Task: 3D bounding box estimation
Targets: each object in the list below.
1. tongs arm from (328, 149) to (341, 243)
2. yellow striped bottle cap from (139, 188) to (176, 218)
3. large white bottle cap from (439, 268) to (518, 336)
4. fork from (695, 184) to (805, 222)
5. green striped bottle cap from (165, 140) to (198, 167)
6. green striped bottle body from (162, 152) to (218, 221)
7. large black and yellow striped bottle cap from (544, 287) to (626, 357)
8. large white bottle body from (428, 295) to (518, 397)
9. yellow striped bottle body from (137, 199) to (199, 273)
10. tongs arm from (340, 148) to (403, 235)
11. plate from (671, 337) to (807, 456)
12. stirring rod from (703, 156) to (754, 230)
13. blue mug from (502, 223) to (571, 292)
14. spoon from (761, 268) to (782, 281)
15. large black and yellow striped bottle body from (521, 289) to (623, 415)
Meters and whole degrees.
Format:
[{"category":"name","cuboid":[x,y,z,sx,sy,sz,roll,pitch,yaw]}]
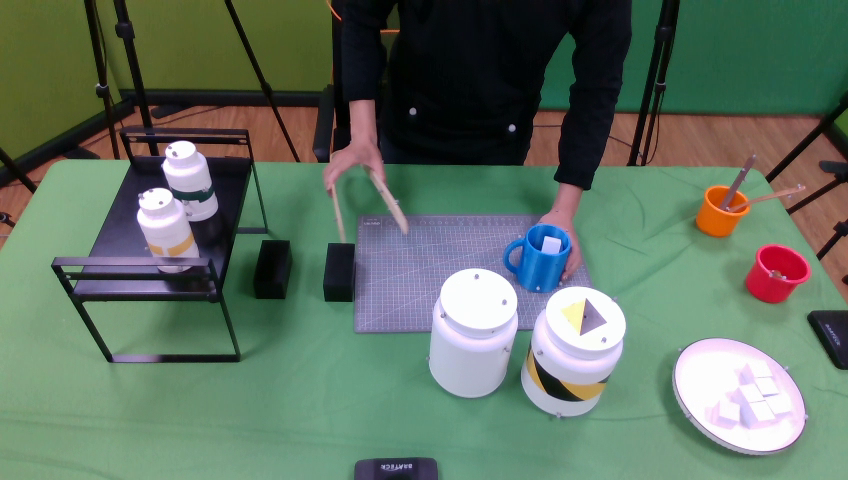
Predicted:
[{"category":"tongs arm","cuboid":[-0.165,-0.095,1.143,0.028,0.028,0.385,-10,29,-5]},{"category":"yellow striped bottle cap","cuboid":[-0.363,-0.051,0.827,0.044,0.019,0.044,1,47,-1]},{"category":"large white bottle cap","cuboid":[0.080,0.089,0.888,0.115,0.018,0.114,2,47,-2]},{"category":"fork","cuboid":[0.657,-0.075,1.230,0.207,0.019,0.028,-23,34,37]},{"category":"green striped bottle cap","cuboid":[-0.360,-0.128,0.902,0.044,0.020,0.044,3,47,-3]},{"category":"green striped bottle body","cuboid":[-0.363,-0.092,0.939,0.063,0.120,0.063,2,46,-2]},{"category":"large black and yellow striped bottle cap","cuboid":[0.232,0.116,0.876,0.115,0.019,0.114,1,45,-1]},{"category":"large white bottle body","cuboid":[0.076,0.147,0.950,0.131,0.185,0.130,2,46,-2]},{"category":"yellow striped bottle body","cuboid":[-0.366,-0.014,0.864,0.063,0.121,0.062,2,46,-2]},{"category":"tongs arm","cuboid":[-0.109,-0.103,1.155,0.051,0.026,0.382,-10,30,-12]},{"category":"plate","cuboid":[0.503,0.254,0.984,0.208,0.039,0.206,2,46,-2]},{"category":"stirring rod","cuboid":[0.631,-0.098,1.258,0.014,0.006,0.176,33,95,29]},{"category":"blue mug","cuboid":[0.202,0.031,1.121,0.116,0.106,0.082,5,47,1]},{"category":"spoon","cuboid":[0.638,0.060,1.105,0.041,0.021,0.194,38,11,24]},{"category":"large black and yellow striped bottle body","cuboid":[0.228,0.173,0.938,0.131,0.185,0.130,2,47,-2]}]
